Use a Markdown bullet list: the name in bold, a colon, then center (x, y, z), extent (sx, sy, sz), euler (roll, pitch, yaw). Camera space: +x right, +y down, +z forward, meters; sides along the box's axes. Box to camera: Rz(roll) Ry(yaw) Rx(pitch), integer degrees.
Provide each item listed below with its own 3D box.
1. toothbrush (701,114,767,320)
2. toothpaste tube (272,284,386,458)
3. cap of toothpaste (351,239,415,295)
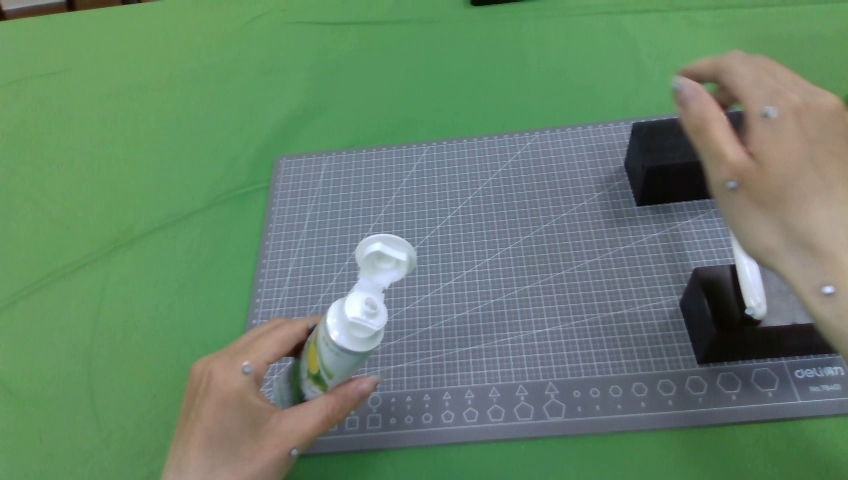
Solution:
- **toothbrush**: center (0.224, -0.024, 0.439), extent (0.014, 0.017, 0.180), euler (9, 56, -4)
- **toothpaste tube**: center (-0.067, 0.081, 0.381), extent (0.035, 0.165, 0.054), euler (6, 49, -31)
- **cap of toothpaste**: center (-0.023, 0.015, 0.334), extent (0.037, 0.038, 0.011), euler (-3, 40, 7)
